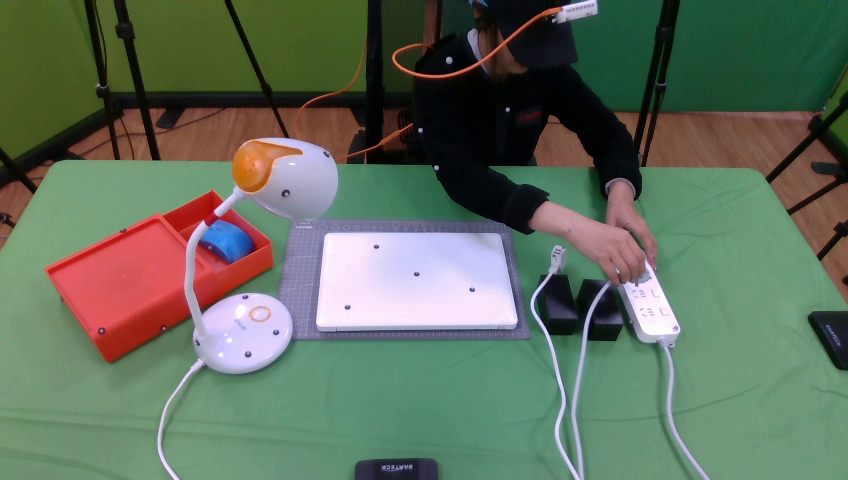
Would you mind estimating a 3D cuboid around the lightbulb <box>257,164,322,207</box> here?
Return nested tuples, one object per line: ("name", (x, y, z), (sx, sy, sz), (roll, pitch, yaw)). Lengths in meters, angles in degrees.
("lightbulb", (-0.181, -0.077, 0.810), (0.059, 0.059, 0.108), (36, 11, 27))

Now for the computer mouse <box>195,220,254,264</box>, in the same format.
("computer mouse", (-0.380, -0.002, 1.153), (0.116, 0.041, 0.062), (28, 52, 28))

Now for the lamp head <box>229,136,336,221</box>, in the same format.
("lamp head", (-0.196, -0.085, 0.791), (0.112, 0.112, 0.123), (36, 14, 27))

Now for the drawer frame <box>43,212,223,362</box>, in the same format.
("drawer frame", (-0.497, 0.073, 1.049), (0.213, 0.083, 0.200), (-34, 57, -31))

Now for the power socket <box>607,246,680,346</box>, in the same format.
("power socket", (0.403, 0.096, 1.123), (0.072, 0.033, 0.225), (-2, 46, -5))

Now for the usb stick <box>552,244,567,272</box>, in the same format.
("usb stick", (0.251, 0.039, 1.123), (0.021, 0.059, 0.027), (13, 47, 25))

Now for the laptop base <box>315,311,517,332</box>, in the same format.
("laptop base", (-0.016, 0.075, 1.125), (0.355, 0.023, 0.234), (0, 43, -4))

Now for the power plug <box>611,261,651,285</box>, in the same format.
("power plug", (0.364, 0.061, 1.073), (0.072, 0.053, 0.035), (-9, 43, 8))

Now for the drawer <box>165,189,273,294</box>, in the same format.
("drawer", (-0.419, 0.021, 1.108), (0.193, 0.073, 0.211), (37, 55, 27))

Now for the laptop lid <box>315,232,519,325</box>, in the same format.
("laptop lid", (-0.015, 0.065, 1.118), (0.357, 0.013, 0.240), (1, 43, -3))

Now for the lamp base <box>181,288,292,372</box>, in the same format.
("lamp base", (-0.309, 0.108, 0.959), (0.160, 0.181, 0.179), (29, 55, 22))
